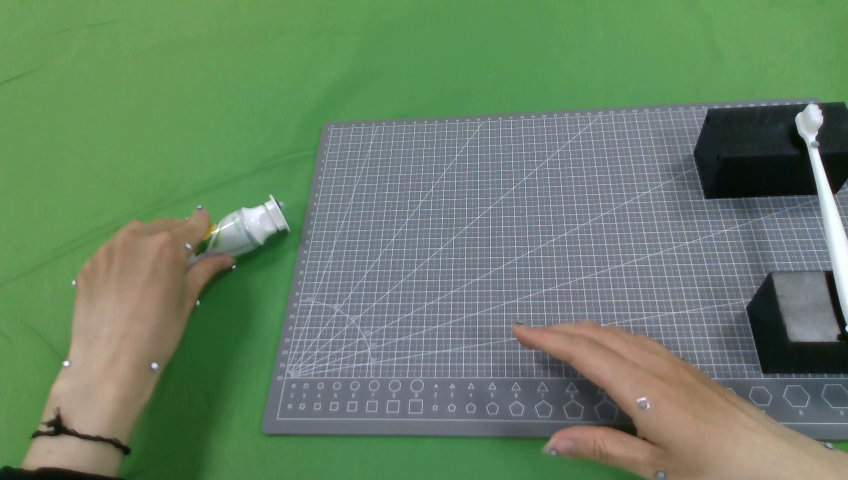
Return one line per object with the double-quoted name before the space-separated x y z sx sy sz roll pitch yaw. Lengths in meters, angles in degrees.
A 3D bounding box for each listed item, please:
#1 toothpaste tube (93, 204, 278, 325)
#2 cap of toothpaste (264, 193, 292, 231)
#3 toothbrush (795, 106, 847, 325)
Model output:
"toothpaste tube" -0.195 0.013 0.500 0.165 0.035 0.054 -27 37 -8
"cap of toothpaste" -0.123 -0.022 0.509 0.011 0.038 0.037 -28 56 -12
"toothbrush" 0.270 -0.020 0.401 0.014 0.017 0.180 11 59 -3
